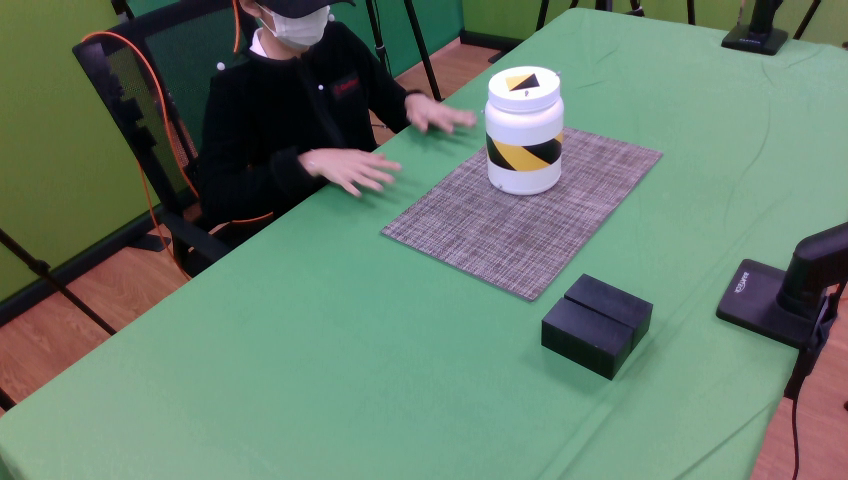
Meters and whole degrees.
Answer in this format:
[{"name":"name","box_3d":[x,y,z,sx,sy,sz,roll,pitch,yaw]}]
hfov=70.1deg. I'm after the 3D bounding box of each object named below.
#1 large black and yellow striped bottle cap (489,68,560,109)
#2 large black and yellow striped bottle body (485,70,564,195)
[{"name":"large black and yellow striped bottle cap","box_3d":[0.161,-0.247,0.979,0.115,0.019,0.114,-5,39,4]},{"name":"large black and yellow striped bottle body","box_3d":[0.172,-0.184,1.033,0.131,0.185,0.130,-5,40,5]}]
